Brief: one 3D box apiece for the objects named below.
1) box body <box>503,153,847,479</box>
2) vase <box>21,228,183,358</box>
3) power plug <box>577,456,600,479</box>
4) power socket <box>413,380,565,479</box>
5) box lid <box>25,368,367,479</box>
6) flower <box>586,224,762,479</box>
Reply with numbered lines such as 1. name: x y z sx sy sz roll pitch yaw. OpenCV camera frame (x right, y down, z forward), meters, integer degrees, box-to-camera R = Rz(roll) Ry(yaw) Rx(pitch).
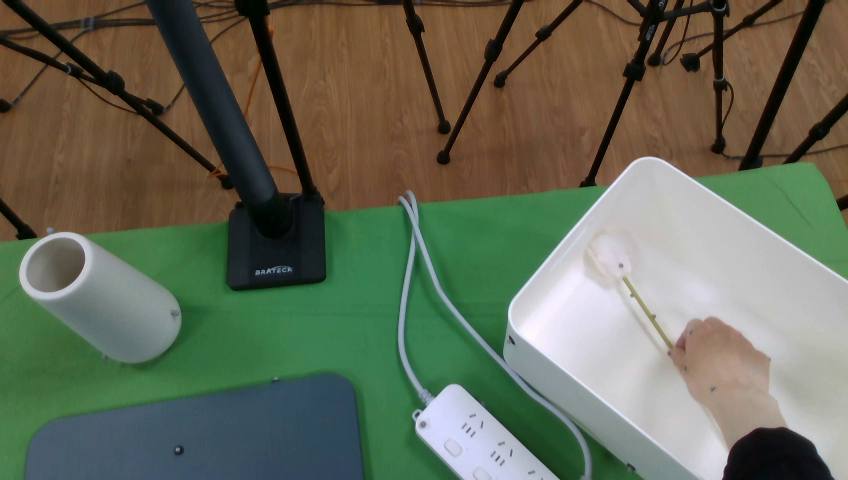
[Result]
1. box body: 0.289 0.122 0.636 0.362 0.161 0.253 38 71 16
2. vase: -0.336 0.060 0.650 0.098 0.201 0.097 0 64 0
3. power plug: 0.158 0.261 0.621 0.072 0.053 0.035 -32 66 -17
4. power socket: 0.084 0.244 0.655 0.225 0.033 0.072 41 72 17
5. box lid: -0.241 0.290 0.648 0.372 0.015 0.261 -9 66 -3
6. flower: 0.294 0.136 0.691 0.044 0.038 0.359 -27 69 1
